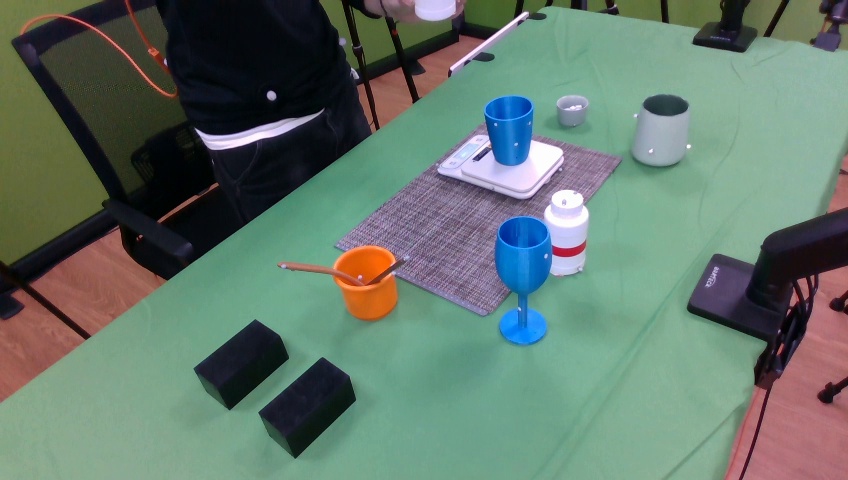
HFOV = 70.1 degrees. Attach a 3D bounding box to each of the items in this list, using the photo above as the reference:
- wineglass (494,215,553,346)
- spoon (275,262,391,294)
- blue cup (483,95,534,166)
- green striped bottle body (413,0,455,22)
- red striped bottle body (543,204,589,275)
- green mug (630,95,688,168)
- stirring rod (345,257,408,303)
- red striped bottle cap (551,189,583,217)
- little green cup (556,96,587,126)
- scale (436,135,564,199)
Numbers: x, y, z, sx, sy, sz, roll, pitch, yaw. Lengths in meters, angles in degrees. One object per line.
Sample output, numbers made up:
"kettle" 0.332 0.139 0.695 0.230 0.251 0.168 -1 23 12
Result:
"wineglass" 0.126 0.055 0.770 0.074 0.173 0.073 -4 40 4
"spoon" -0.120 0.050 0.830 0.041 0.195 0.021 31 97 45
"blue cup" 0.150 -0.187 1.051 0.092 0.101 0.092 -6 41 6
"green striped bottle body" 0.011 -0.385 0.874 0.063 0.120 0.063 -3 48 4
"red striped bottle body" 0.206 -0.011 0.877 0.063 0.120 0.062 -5 41 4
"green mug" 0.421 -0.201 1.081 0.092 0.105 0.125 5 42 15
"stirring rod" -0.067 0.057 0.815 0.014 0.175 0.006 -24 82 -38
"red striped bottle cap" 0.200 -0.052 0.843 0.044 0.018 0.044 -2 42 2
"little green cup" 0.295 -0.258 1.214 0.061 0.039 0.061 -4 42 4
"scale" 0.137 -0.142 1.101 0.199 0.032 0.149 22 48 30
